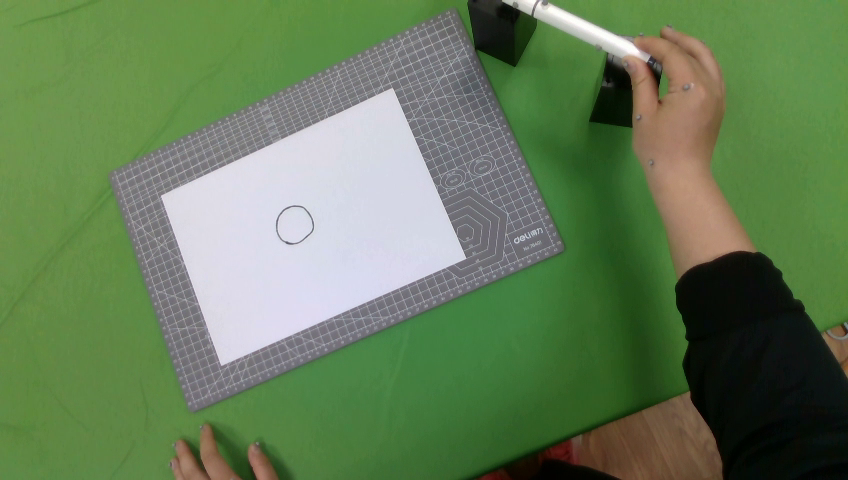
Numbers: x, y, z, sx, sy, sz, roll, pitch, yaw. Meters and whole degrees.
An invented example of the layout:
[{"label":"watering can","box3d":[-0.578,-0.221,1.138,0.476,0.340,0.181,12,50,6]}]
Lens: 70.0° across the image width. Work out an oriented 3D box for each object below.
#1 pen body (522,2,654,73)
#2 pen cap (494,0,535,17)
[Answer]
[{"label":"pen body","box3d":[0.134,-0.185,0.537,0.143,0.017,0.017,31,89,11]},{"label":"pen cap","box3d":[0.081,-0.218,0.552,0.038,0.017,0.017,30,89,13]}]
